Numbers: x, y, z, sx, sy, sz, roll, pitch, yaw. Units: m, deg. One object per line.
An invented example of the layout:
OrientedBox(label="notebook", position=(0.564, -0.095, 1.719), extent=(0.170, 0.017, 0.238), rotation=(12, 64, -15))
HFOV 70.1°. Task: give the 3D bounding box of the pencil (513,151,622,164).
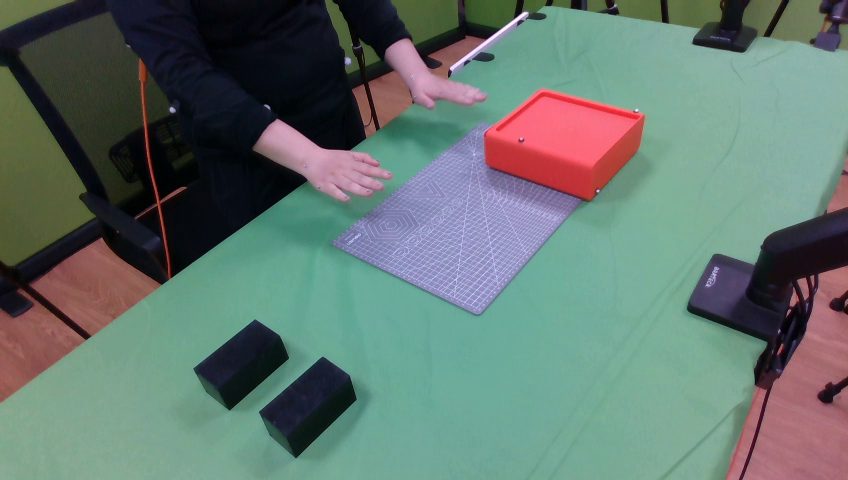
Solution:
OrientedBox(label="pencil", position=(0.260, -0.149, 1.100), extent=(0.194, 0.012, 0.012), rotation=(-4, 40, 6))

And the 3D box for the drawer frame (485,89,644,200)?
OrientedBox(label="drawer frame", position=(0.252, -0.180, 1.094), extent=(0.212, 0.083, 0.202), rotation=(24, 48, 31))

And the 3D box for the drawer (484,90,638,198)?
OrientedBox(label="drawer", position=(0.247, -0.179, 1.097), extent=(0.210, 0.073, 0.195), rotation=(25, 49, 31))
